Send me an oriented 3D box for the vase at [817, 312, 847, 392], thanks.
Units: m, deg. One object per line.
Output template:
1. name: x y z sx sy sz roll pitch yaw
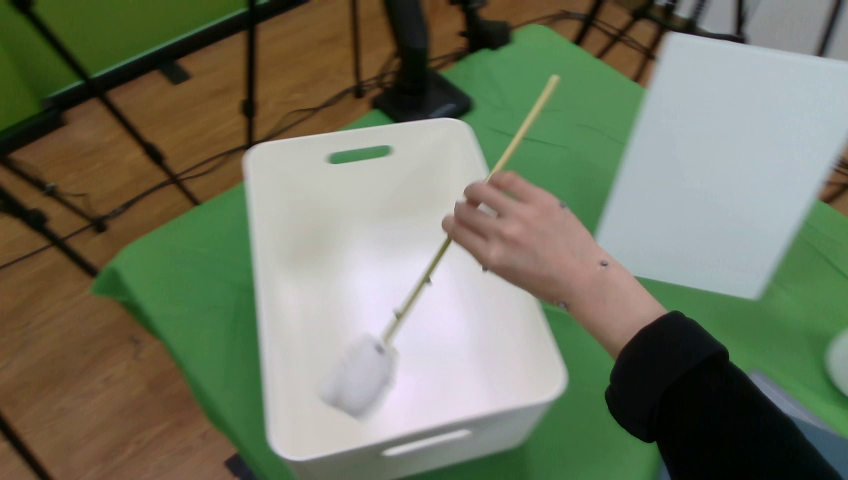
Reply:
1. vase: 0.510 0.090 0.640 0.098 0.201 0.097 1 53 -1

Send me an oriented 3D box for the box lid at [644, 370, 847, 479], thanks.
1. box lid: 0.332 0.321 0.579 0.262 0.015 0.369 23 57 12

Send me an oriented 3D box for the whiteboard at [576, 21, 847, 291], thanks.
1. whiteboard: 0.334 -0.116 0.750 0.217 0.308 0.143 11 35 6

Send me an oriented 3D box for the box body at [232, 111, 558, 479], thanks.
1. box body: -0.047 0.053 0.659 0.254 0.162 0.360 -11 56 -11

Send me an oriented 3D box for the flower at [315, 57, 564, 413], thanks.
1. flower: 0.030 -0.026 0.484 0.043 0.038 0.360 13 61 42
